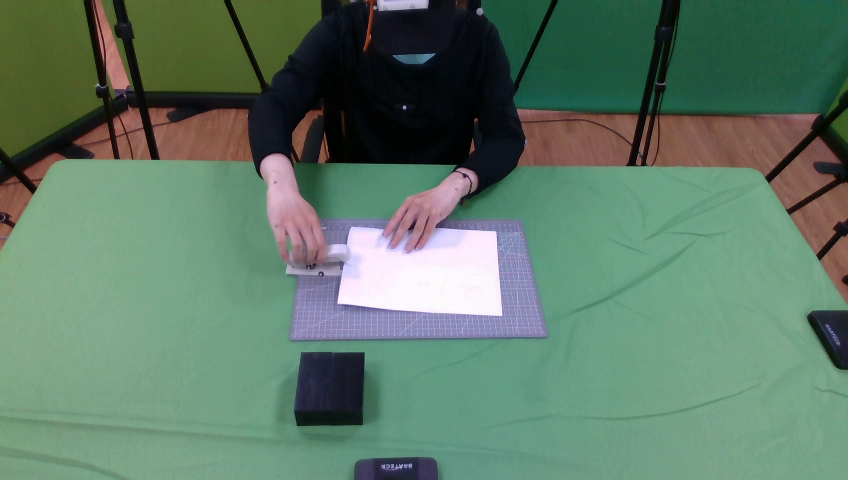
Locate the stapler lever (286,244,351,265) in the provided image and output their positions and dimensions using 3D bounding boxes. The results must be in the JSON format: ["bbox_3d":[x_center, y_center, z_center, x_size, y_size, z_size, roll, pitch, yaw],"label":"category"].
[{"bbox_3d":[-0.194,0.027,1.115,0.118,0.040,0.026,1,47,-1],"label":"stapler lever"}]

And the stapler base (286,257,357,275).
[{"bbox_3d":[-0.193,0.042,1.133,0.130,0.024,0.041,0,47,0],"label":"stapler base"}]
